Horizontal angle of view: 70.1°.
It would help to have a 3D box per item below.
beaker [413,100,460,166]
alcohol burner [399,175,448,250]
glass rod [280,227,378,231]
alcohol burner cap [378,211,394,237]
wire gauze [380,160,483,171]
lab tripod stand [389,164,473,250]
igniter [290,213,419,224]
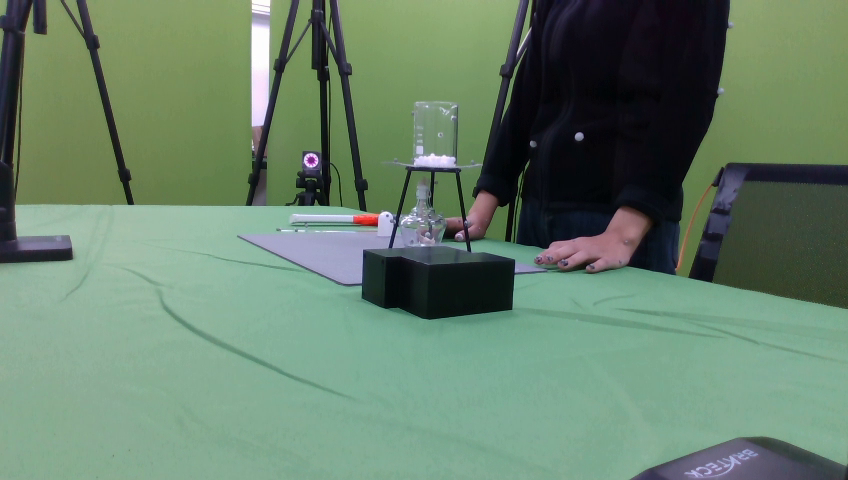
[{"bbox_3d":[0.020,-0.167,0.953,0.073,0.100,0.084,5,9,26],"label":"beaker"},{"bbox_3d":[-0.001,-0.044,0.962,0.078,0.119,0.078,0,8,0],"label":"alcohol burner"},{"bbox_3d":[-0.175,-0.021,1.161,0.200,0.008,0.008,0,7,-15],"label":"glass rod"},{"bbox_3d":[-0.069,-0.030,1.113,0.034,0.048,0.034,1,9,0],"label":"alcohol burner cap"},{"bbox_3d":[0.011,-0.118,0.951,0.122,0.011,0.124,-5,12,-32],"label":"wire gauze"},{"bbox_3d":[0.011,-0.054,0.961,0.148,0.131,0.148,2,9,0],"label":"lab tripod stand"},{"bbox_3d":[-0.143,-0.046,1.288,0.278,0.025,0.057,-1,-3,-24],"label":"igniter"}]
